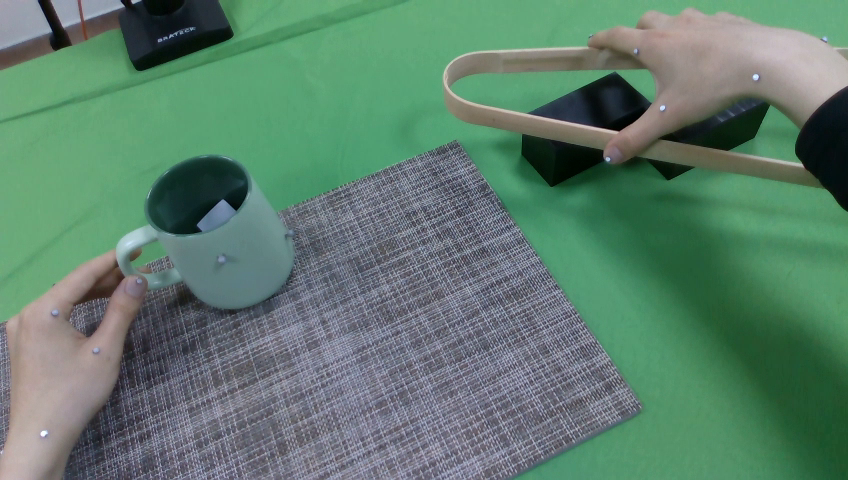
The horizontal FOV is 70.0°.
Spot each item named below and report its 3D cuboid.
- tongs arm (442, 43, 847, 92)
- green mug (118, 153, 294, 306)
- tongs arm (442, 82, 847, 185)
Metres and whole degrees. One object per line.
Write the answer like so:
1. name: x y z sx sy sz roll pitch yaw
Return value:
1. tongs arm: 0.210 -0.147 0.533 0.384 0.027 0.050 2 60 6
2. green mug: -0.175 0.001 0.483 0.125 0.106 0.091 -24 57 -10
3. tongs arm: 0.197 -0.082 0.493 0.386 0.028 0.028 12 65 12
